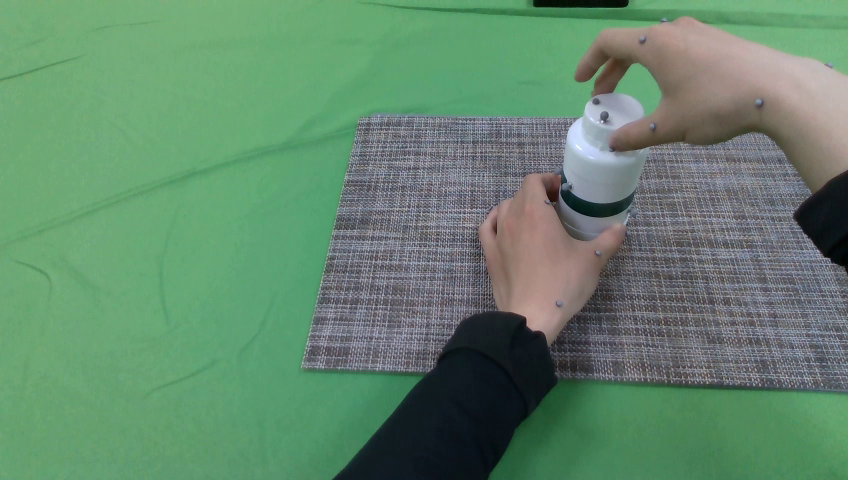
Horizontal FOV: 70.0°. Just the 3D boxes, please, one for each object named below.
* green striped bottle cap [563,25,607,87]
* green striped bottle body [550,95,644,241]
[{"bbox_3d":[0.125,-0.142,0.470,0.020,0.045,0.044,25,57,25],"label":"green striped bottle cap"},{"bbox_3d":[0.141,-0.059,0.497,0.063,0.120,0.062,-2,51,2],"label":"green striped bottle body"}]
